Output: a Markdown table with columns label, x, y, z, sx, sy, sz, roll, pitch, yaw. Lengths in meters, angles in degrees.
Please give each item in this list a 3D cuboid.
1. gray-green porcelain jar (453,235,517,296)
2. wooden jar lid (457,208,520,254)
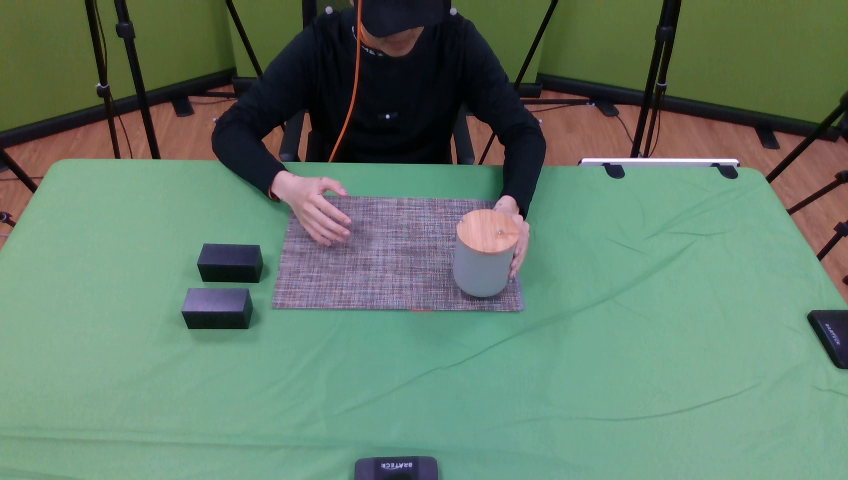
| label | x | y | z | sx | sy | sz | roll | pitch | yaw |
| --- | --- | --- | --- | --- | --- | --- | --- | --- | --- |
| gray-green porcelain jar | 0.107 | 0.030 | 1.087 | 0.106 | 0.127 | 0.105 | 1 | 46 | -1 |
| wooden jar lid | 0.110 | -0.013 | 1.044 | 0.108 | 0.021 | 0.107 | 0 | 44 | 0 |
